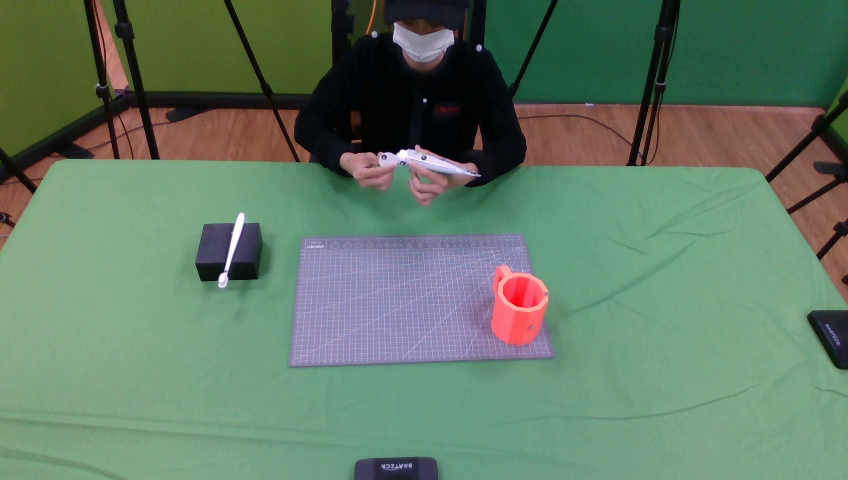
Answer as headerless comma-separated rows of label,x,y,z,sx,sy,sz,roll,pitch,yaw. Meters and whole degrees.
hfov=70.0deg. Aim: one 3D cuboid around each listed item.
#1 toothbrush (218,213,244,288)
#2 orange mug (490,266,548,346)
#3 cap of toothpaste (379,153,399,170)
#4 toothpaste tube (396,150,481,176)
toothbrush,-0.347,0.013,1.093,0.014,0.017,0.180,-1,46,0
orange mug,0.155,0.107,1.051,0.083,0.101,0.125,-15,53,-18
cap of toothpaste,-0.066,-0.150,1.139,0.037,0.037,0.011,0,37,-5
toothpaste tube,0.024,-0.141,1.139,0.165,0.034,0.055,14,14,10
